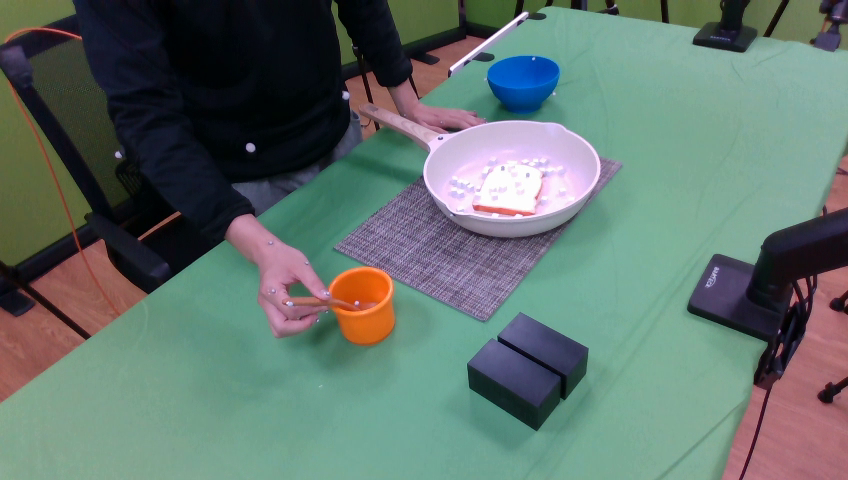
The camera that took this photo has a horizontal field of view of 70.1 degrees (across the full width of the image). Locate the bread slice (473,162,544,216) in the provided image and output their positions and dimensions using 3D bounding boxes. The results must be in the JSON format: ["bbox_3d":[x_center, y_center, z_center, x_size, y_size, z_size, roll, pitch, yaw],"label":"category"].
[{"bbox_3d":[0.150,-0.089,1.041,0.106,0.018,0.134,7,45,16],"label":"bread slice"}]

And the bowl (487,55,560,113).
[{"bbox_3d":[0.208,-0.319,1.266,0.151,0.077,0.150,-4,41,4],"label":"bowl"}]

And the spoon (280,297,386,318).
[{"bbox_3d":[-0.114,0.084,0.785,0.041,0.195,0.021,27,93,34],"label":"spoon"}]

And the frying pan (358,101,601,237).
[{"bbox_3d":[0.067,-0.153,1.067,0.484,0.103,0.308,32,52,26],"label":"frying pan"}]
